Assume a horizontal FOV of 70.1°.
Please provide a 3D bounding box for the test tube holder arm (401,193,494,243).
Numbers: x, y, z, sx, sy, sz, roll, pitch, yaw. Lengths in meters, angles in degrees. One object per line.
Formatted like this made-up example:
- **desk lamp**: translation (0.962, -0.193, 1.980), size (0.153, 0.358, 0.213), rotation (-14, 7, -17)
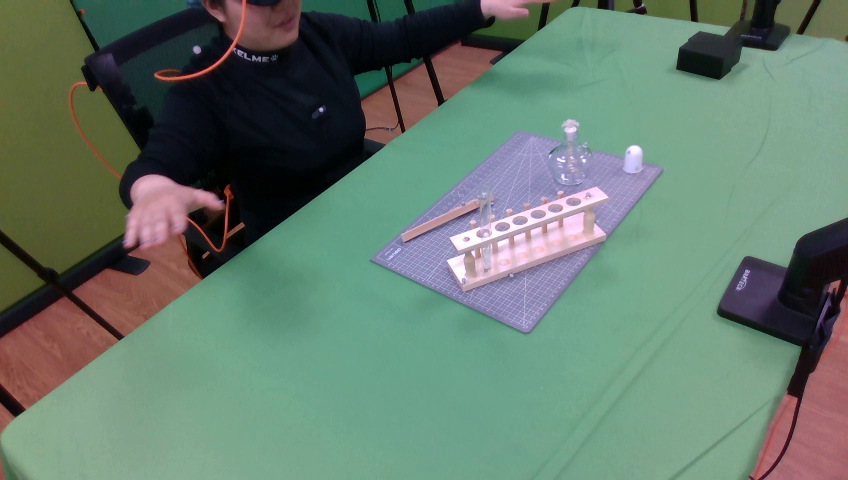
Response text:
- **test tube holder arm**: translation (0.041, -0.039, 1.018), size (0.179, 0.015, 0.013), rotation (-26, 9, -18)

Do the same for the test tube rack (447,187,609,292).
- **test tube rack**: translation (0.154, -0.011, 0.913), size (0.243, 0.085, 0.066), rotation (-19, 41, -11)

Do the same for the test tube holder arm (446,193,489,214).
- **test tube holder arm**: translation (0.078, -0.058, 1.037), size (0.088, 0.015, 0.010), rotation (-26, 9, -18)

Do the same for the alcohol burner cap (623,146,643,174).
- **alcohol burner cap**: translation (0.369, -0.143, 1.061), size (0.034, 0.048, 0.033), rotation (-6, 41, 6)

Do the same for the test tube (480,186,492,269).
- **test tube**: translation (0.088, -0.014, 0.852), size (0.017, 0.151, 0.017), rotation (-3, 42, 3)

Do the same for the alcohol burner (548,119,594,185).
- **alcohol burner**: translation (0.254, -0.155, 1.043), size (0.078, 0.120, 0.077), rotation (-7, 40, 6)
